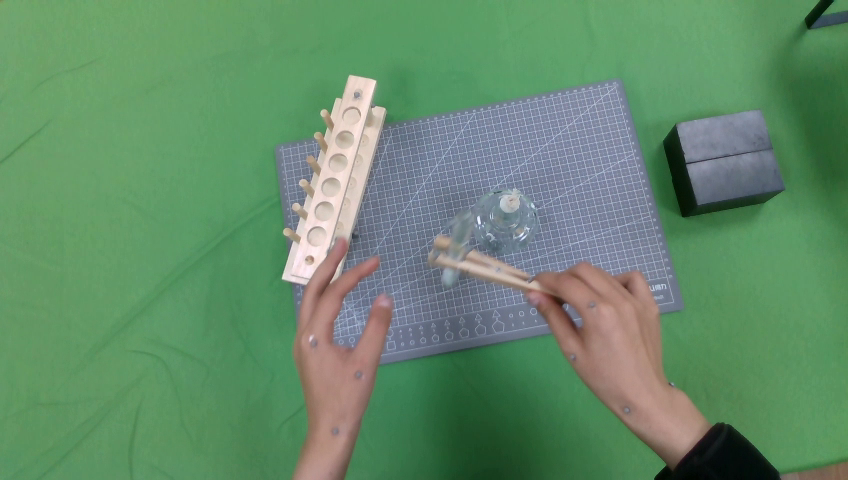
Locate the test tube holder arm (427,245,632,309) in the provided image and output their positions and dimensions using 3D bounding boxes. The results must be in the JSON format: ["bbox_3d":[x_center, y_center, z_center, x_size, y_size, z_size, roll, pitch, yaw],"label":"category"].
[{"bbox_3d":[0.090,0.032,0.521,0.178,0.015,0.013,16,63,1],"label":"test tube holder arm"}]

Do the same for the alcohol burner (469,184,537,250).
[{"bbox_3d":[0.090,-0.031,0.680,0.078,0.119,0.077,-1,76,2],"label":"alcohol burner"}]

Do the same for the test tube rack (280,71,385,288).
[{"bbox_3d":[-0.114,-0.073,0.717,0.066,0.085,0.241,13,78,7],"label":"test tube rack"}]

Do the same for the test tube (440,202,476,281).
[{"bbox_3d":[0.027,0.006,0.515,0.017,0.151,0.017,1,68,-3],"label":"test tube"}]

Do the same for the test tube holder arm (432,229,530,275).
[{"bbox_3d":[0.049,0.014,0.525,0.087,0.015,0.010,24,63,5],"label":"test tube holder arm"}]
